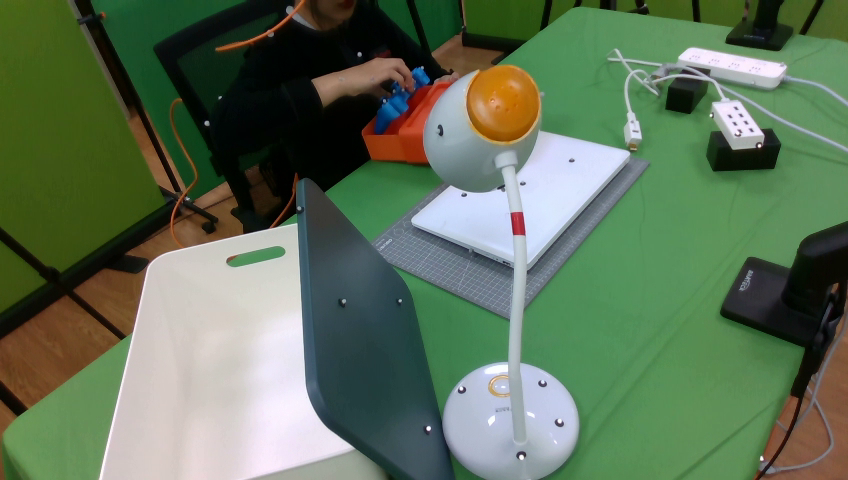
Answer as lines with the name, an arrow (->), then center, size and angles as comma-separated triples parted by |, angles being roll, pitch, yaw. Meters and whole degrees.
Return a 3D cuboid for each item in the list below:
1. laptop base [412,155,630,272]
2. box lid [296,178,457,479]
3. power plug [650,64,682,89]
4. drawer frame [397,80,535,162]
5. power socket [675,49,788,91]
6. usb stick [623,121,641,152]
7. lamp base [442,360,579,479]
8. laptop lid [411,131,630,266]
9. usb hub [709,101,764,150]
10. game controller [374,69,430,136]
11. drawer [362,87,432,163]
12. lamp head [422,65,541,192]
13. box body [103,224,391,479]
laptop base -> 0.175, -0.084, 1.056 | 0.233, 0.023, 0.355 | 21, 48, 35
box lid -> -0.060, 0.103, 0.702 | 0.015, 0.265, 0.369 | -30, 39, 11
power plug -> 0.498, -0.341, 1.263 | 0.035, 0.052, 0.072 | 20, 10, -7
drawer frame -> 0.089, -0.231, 1.171 | 0.212, 0.083, 0.201 | 5, 42, 25
power socket -> 0.647, -0.363, 1.284 | 0.225, 0.033, 0.072 | 26, 53, 35
usb stick -> 0.389, -0.191, 1.128 | 0.021, 0.027, 0.059 | 8, 62, -9
lamp base -> 0.094, 0.158, 0.657 | 0.161, 0.181, 0.178 | -14, 42, -5
laptop lid -> 0.172, -0.094, 1.050 | 0.239, 0.013, 0.358 | 23, 49, 36
usb hub -> 0.534, -0.199, 1.040 | 0.049, 0.025, 0.124 | -5, 39, 8
game controller -> -0.050, -0.281, 1.202 | 0.096, 0.052, 0.155 | -22, 29, 50
drawer -> 0.015, -0.235, 1.208 | 0.210, 0.073, 0.194 | 7, 44, 26
lamp head -> 0.060, -0.106, 0.560 | 0.113, 0.112, 0.122 | -17, 0, -8
box body -> -0.190, 0.161, 0.723 | 0.255, 0.161, 0.361 | -13, 40, -5
